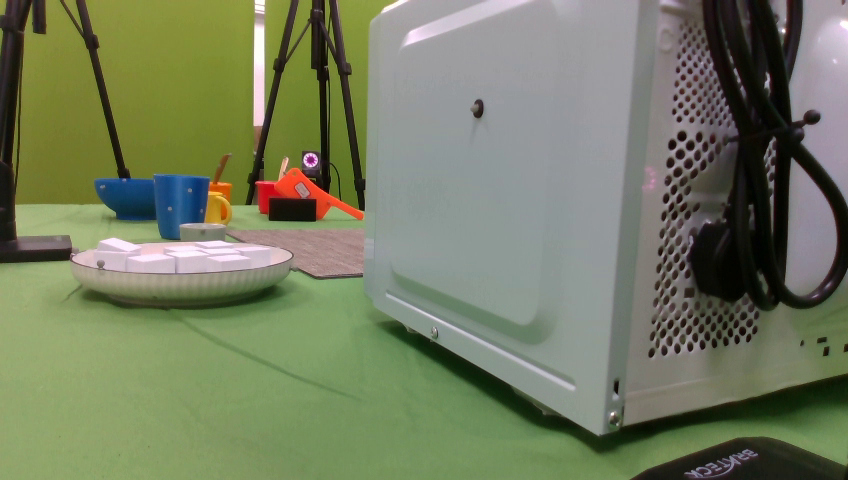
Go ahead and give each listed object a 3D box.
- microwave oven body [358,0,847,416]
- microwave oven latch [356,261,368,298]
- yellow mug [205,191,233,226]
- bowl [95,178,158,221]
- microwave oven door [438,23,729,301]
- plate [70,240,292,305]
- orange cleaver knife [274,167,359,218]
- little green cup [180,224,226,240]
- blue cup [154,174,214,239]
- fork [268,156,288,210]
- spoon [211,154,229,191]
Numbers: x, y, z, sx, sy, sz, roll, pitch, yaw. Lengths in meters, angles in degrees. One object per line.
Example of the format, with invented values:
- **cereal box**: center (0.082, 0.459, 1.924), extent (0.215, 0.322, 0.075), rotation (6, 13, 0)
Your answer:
- **microwave oven body**: center (0.211, -0.047, 0.474), extent (0.444, 0.260, 0.324), rotation (-1, 8, -28)
- **microwave oven latch**: center (-0.019, 0.033, 0.529), extent (0.079, 0.029, 0.030), rotation (0, 7, -25)
- **yellow mug**: center (-0.415, -0.057, 1.132), extent (0.130, 0.064, 0.100), rotation (6, 8, 16)
- **bowl**: center (-0.576, -0.081, 1.217), extent (0.151, 0.077, 0.151), rotation (3, 7, 0)
- **microwave oven door**: center (0.181, -0.072, 0.620), extent (0.358, 0.243, 0.039), rotation (-2, 8, -29)
- **plate**: center (-0.242, 0.031, 0.618), extent (0.208, 0.039, 0.207), rotation (2, 8, 0)
- **orange cleaver knife**: center (-0.238, -0.091, 1.381), extent (0.212, 0.077, 0.012), rotation (31, 0, -19)
- **little green cup**: center (-0.309, -0.001, 0.846), extent (0.061, 0.038, 0.061), rotation (2, 8, 0)
- **blue cup**: center (-0.391, -0.053, 0.978), extent (0.093, 0.100, 0.092), rotation (4, 6, 0)
- **fork**: center (-0.360, -0.144, 1.508), extent (0.028, 0.018, 0.207), rotation (1, 49, 0)
- **spoon**: center (-0.431, -0.115, 1.253), extent (0.042, 0.193, 0.021), rotation (-3, 54, -33)
